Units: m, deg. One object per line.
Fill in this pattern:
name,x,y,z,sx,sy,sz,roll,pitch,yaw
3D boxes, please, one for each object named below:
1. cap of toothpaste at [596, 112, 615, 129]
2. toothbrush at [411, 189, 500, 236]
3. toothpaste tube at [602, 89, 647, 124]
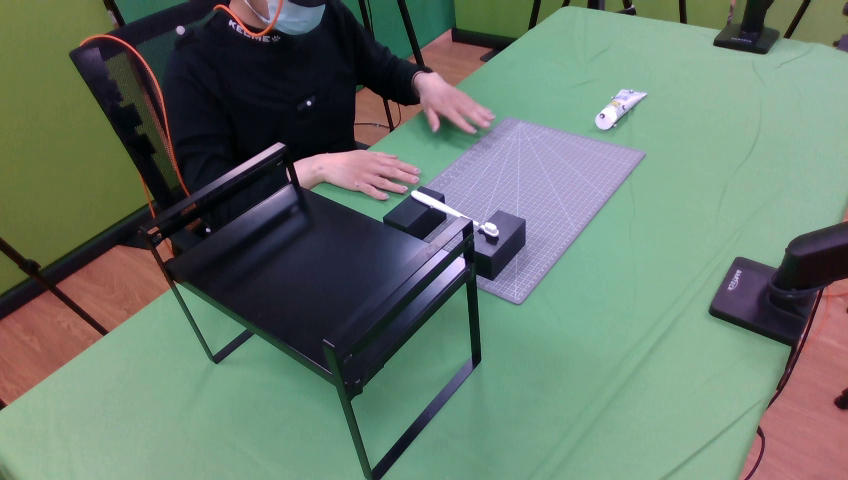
cap of toothpaste,0.354,-0.233,1.177,0.037,0.037,0.011,20,44,28
toothbrush,0.044,-0.046,0.940,0.180,0.017,0.014,28,67,36
toothpaste tube,0.400,-0.274,1.227,0.054,0.034,0.165,22,45,26
